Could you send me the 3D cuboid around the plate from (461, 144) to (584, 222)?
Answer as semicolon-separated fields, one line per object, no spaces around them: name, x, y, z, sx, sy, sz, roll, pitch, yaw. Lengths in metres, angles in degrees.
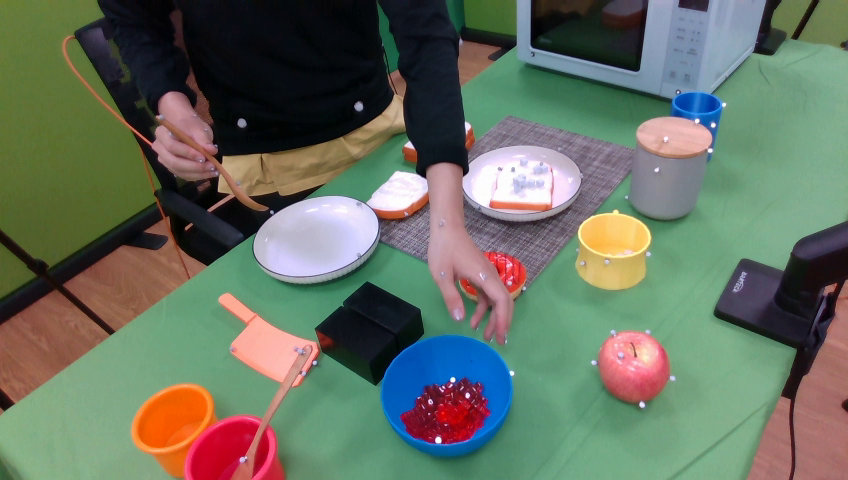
plate;0.167;-0.095;1.040;0.207;0.039;0.206;-4;41;4

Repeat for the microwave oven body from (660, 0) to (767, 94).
microwave oven body;0.473;-0.517;1.313;0.438;0.261;0.327;26;51;34

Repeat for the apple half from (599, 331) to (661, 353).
apple half;0.249;0.134;0.738;0.081;0.081;0.032;-1;46;7

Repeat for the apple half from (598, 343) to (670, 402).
apple half;0.247;0.161;0.710;0.081;0.075;0.053;2;47;5

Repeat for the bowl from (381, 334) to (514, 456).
bowl;0.029;0.192;0.701;0.151;0.077;0.150;-4;40;4

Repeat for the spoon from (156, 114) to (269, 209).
spoon;-0.287;-0.104;0.830;0.021;0.195;0.041;-49;35;-14

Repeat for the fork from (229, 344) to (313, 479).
fork;-0.173;0.205;0.662;0.028;0.019;0.207;29;94;36

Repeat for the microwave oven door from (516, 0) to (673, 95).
microwave oven door;0.344;-0.458;1.256;0.353;0.245;0.039;26;51;33

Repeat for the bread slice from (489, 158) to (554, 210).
bread slice;0.173;-0.100;1.047;0.104;0.019;0.131;4;43;12

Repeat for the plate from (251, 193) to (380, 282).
plate;-0.173;-0.001;0.984;0.209;0.038;0.208;-4;40;4

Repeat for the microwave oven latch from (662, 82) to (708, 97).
microwave oven latch;0.517;-0.298;1.203;0.078;0.029;0.030;28;53;35

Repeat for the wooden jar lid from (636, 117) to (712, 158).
wooden jar lid;0.377;-0.151;0.917;0.108;0.021;0.108;-2;41;3

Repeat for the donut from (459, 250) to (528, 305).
donut;0.100;0.053;0.872;0.099;0.048;0.098;-5;39;4

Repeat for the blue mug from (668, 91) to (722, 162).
blue mug;0.474;-0.207;1.079;0.082;0.106;0.116;4;42;13

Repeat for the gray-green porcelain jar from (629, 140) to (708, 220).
gray-green porcelain jar;0.383;-0.104;0.958;0.106;0.127;0.105;-4;41;4

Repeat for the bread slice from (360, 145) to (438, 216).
bread slice;-0.052;-0.103;1.046;0.106;0.018;0.134;19;67;23

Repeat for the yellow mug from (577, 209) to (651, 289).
yellow mug;0.279;0.005;0.893;0.099;0.064;0.130;5;41;15

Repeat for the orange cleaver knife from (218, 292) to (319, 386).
orange cleaver knife;-0.235;0.136;0.850;0.209;0.012;0.077;25;56;30
